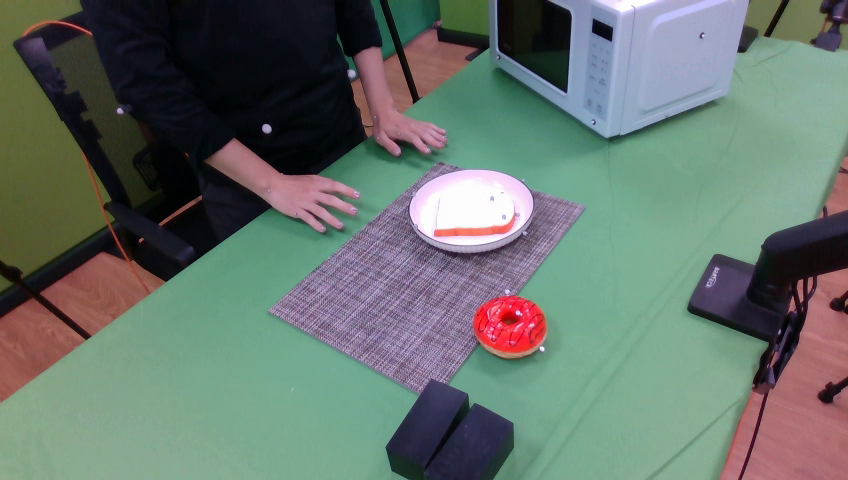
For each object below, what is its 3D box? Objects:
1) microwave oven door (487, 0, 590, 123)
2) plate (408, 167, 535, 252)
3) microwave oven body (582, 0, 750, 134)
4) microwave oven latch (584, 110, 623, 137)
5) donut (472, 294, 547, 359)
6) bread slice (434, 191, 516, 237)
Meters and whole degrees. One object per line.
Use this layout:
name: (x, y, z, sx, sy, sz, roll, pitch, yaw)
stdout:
microwave oven door: (0.232, -0.420, 1.231, 0.039, 0.245, 0.352, -22, 43, -16)
plate: (0.078, -0.047, 0.996, 0.207, 0.039, 0.206, -4, 41, 4)
microwave oven body: (0.382, -0.444, 1.246, 0.327, 0.261, 0.437, -22, 42, -16)
microwave oven latch: (0.337, -0.222, 1.142, 0.030, 0.029, 0.078, -21, 42, -14)
donut: (0.114, 0.114, 0.803, 0.099, 0.048, 0.098, 0, 40, 1)
bread slice: (0.086, -0.046, 0.996, 0.131, 0.019, 0.104, -1, 42, 7)
